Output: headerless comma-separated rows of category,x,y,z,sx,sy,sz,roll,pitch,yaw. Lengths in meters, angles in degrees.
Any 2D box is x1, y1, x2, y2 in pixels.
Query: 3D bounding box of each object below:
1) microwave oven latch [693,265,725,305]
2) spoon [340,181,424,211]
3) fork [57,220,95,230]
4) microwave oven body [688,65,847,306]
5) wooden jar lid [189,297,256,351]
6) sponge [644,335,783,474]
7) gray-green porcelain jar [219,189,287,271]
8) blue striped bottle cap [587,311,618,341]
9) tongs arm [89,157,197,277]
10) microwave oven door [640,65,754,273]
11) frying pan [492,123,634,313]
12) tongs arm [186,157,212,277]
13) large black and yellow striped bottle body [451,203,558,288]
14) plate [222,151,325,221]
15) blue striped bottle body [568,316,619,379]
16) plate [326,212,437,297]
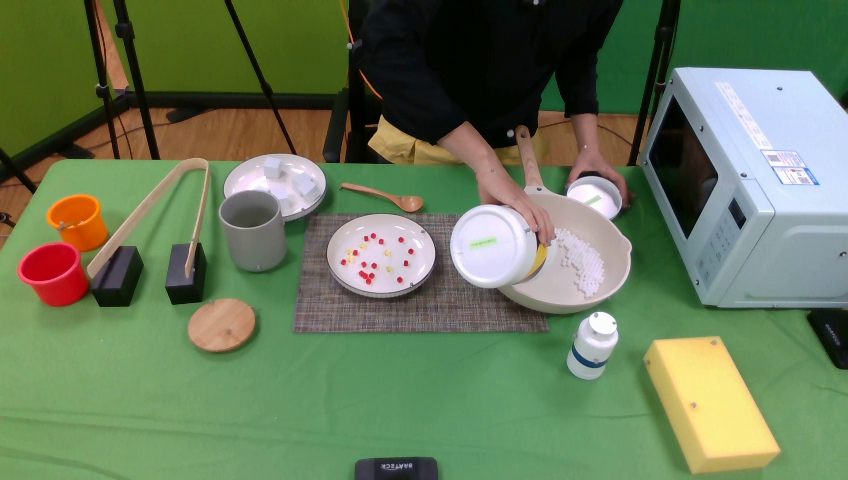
microwave oven latch,0.523,0.082,1.116,0.030,0.029,0.078,2,46,-1
spoon,-0.090,-0.100,1.282,0.193,0.022,0.041,18,64,13
fork,-0.624,-0.027,1.087,0.028,0.207,0.018,-3,92,-17
microwave oven body,0.669,-0.111,1.176,0.326,0.261,0.439,0,46,-3
wooden jar lid,-0.342,0.145,1.033,0.108,0.021,0.107,2,45,-2
sponge,0.448,0.253,0.957,0.118,0.061,0.205,-3,47,-8
gray-green porcelain jar,-0.309,-0.014,1.113,0.106,0.127,0.105,2,46,-2
blue striped bottle cap,0.279,0.134,0.947,0.044,0.021,0.044,2,45,-2
tongs arm,-0.530,-0.058,1.163,0.028,0.028,0.385,1,36,7
microwave oven door,0.523,-0.147,1.193,0.039,0.245,0.353,0,47,-3
frying pan,0.235,-0.060,1.207,0.307,0.103,0.484,2,54,-6
tongs arm,-0.445,-0.058,1.168,0.051,0.026,0.382,-4,37,-6
large black and yellow striped bottle body,0.140,0.009,1.001,0.130,0.131,0.184,35,18,26
plate,-0.310,-0.106,1.262,0.208,0.039,0.206,2,47,-2
blue striped bottle body,0.277,0.168,0.984,0.063,0.121,0.062,2,46,-2
plate,-0.080,0.030,1.143,0.209,0.038,0.208,2,46,-2
